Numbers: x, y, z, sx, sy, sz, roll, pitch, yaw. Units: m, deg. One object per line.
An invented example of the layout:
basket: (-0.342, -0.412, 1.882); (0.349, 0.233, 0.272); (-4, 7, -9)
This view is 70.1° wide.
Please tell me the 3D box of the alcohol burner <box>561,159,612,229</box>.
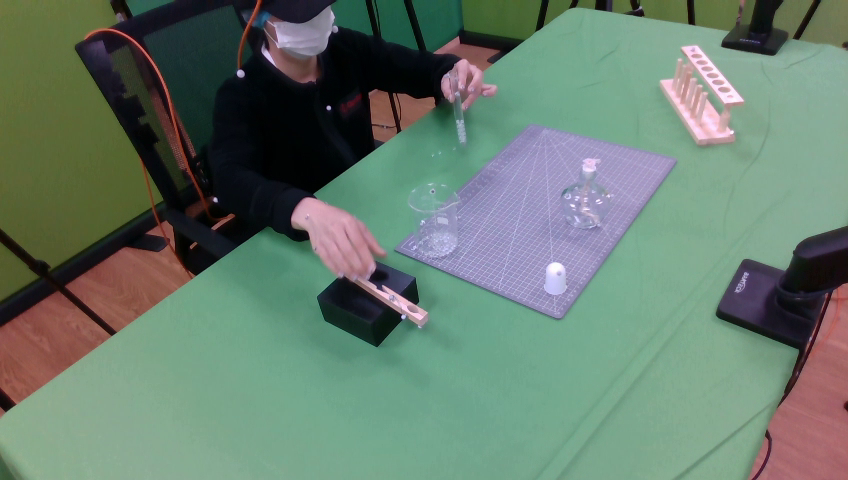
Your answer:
alcohol burner: (0.257, -0.077, 0.951); (0.078, 0.119, 0.077); (-3, 40, 3)

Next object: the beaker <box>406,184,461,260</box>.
beaker: (0.019, -0.026, 0.939); (0.084, 0.101, 0.074); (1, 41, 9)

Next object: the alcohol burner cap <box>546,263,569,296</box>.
alcohol burner cap: (0.191, 0.053, 0.862); (0.034, 0.048, 0.033); (-5, 40, 4)

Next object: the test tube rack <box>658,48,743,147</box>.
test tube rack: (0.532, -0.284, 1.180); (0.067, 0.085, 0.241); (-5, 40, 4)

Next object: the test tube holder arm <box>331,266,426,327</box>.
test tube holder arm: (-0.066, 0.074, 0.828); (0.177, 0.015, 0.013); (24, 42, 33)

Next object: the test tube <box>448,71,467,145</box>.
test tube: (0.060, -0.228, 1.066); (0.017, 0.151, 0.017); (-7, 46, 7)

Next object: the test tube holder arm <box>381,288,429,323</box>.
test tube holder arm: (-0.028, 0.087, 0.807); (0.087, 0.015, 0.010); (25, 42, 33)
